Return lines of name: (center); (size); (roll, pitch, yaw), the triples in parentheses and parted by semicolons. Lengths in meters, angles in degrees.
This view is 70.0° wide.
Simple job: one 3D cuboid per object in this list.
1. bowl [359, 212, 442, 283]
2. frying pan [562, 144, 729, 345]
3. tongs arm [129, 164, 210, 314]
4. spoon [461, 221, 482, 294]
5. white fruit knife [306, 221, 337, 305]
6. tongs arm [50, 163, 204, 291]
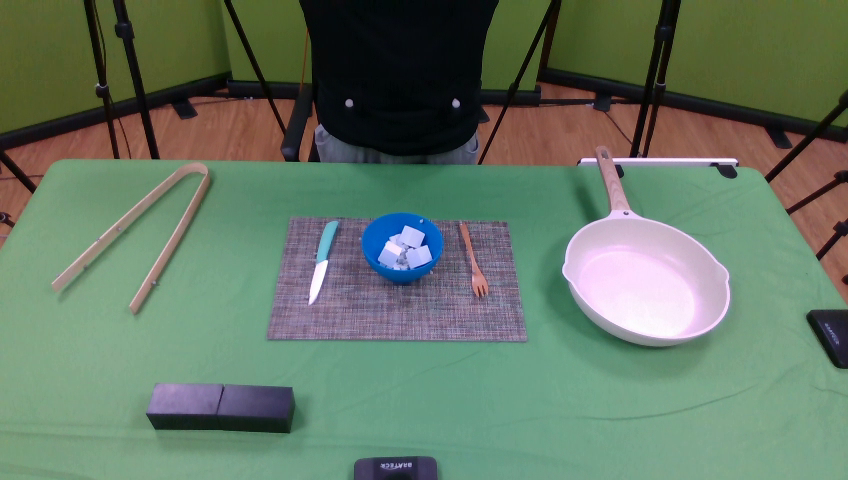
bowl: (-0.044, 0.026, 1.125); (0.151, 0.077, 0.150); (2, 46, -2)
frying pan: (0.396, -0.008, 1.179); (0.307, 0.103, 0.484); (1, 55, -4)
tongs arm: (-0.483, -0.016, 1.170); (0.028, 0.028, 0.385); (5, 46, 4)
spoon: (0.086, 0.031, 1.169); (0.042, 0.022, 0.192); (11, 47, -14)
white fruit knife: (-0.196, 0.040, 1.143); (0.027, 0.016, 0.206); (-1, 46, 8)
tongs arm: (-0.561, -0.036, 1.178); (0.050, 0.026, 0.383); (17, 46, 11)
